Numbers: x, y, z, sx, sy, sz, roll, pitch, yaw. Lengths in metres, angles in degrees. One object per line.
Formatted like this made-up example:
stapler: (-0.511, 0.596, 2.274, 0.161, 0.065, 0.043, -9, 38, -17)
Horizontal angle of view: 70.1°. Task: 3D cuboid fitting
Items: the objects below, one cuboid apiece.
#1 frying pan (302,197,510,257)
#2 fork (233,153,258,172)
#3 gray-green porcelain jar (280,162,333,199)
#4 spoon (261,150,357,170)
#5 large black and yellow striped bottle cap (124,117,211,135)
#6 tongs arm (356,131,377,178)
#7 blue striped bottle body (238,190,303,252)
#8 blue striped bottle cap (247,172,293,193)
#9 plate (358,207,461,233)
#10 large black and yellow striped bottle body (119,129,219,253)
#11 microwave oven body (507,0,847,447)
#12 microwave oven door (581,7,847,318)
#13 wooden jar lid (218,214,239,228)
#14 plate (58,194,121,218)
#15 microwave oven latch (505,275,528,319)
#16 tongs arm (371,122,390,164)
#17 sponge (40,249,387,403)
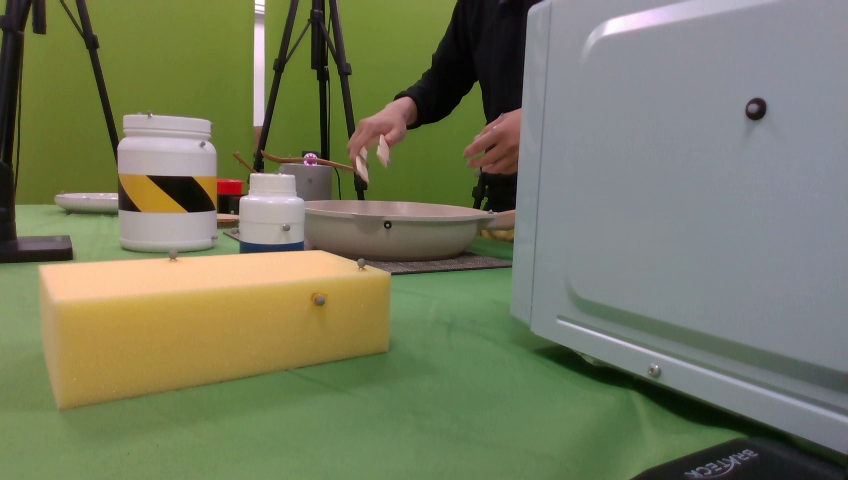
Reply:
frying pan: (0.051, -0.035, 0.915, 0.487, 0.102, 0.307, -5, 7, 11)
fork: (-0.396, -0.144, 1.486, 0.028, 0.018, 0.208, 21, -25, 45)
gray-green porcelain jar: (-0.238, -0.092, 1.221, 0.106, 0.126, 0.106, 2, 7, 0)
spoon: (-0.229, -0.162, 1.222, 0.194, 0.021, 0.041, 3, 4, -16)
large black and yellow striped bottle cap: (-0.366, -0.163, 0.866, 0.115, 0.019, 0.115, 3, 7, 0)
tongs arm: (-0.103, -0.158, 1.090, 0.028, 0.028, 0.387, 44, 9, -14)
blue striped bottle body: (-0.153, -0.007, 0.606, 0.063, 0.120, 0.063, 2, 8, 0)
blue striped bottle cap: (-0.152, -0.057, 0.598, 0.044, 0.020, 0.044, 3, 6, 0)
plate: (-0.030, -0.041, 1.213, 0.208, 0.039, 0.207, 3, 6, 0)
large black and yellow striped bottle body: (-0.367, -0.080, 0.876, 0.131, 0.184, 0.130, 2, 7, 0)
microwave oven body: (0.331, -0.042, 0.425, 0.444, 0.260, 0.324, -2, 8, -31)
microwave oven door: (0.295, -0.067, 0.569, 0.358, 0.243, 0.039, -3, 8, -31)
wooden jar lid: (-0.404, -0.037, 1.169, 0.108, 0.020, 0.108, 3, 7, 0)
plate: (-0.671, -0.074, 1.310, 0.209, 0.038, 0.209, 2, 8, 0)
microwave oven latch: (0.100, 0.041, 0.471, 0.079, 0.029, 0.030, -1, 7, -28)
tongs arm: (-0.084, -0.174, 1.087, 0.050, 0.026, 0.384, -39, 15, 12)
sponge: (-0.142, 0.047, 0.420, 0.208, 0.061, 0.117, -3, 8, -36)
